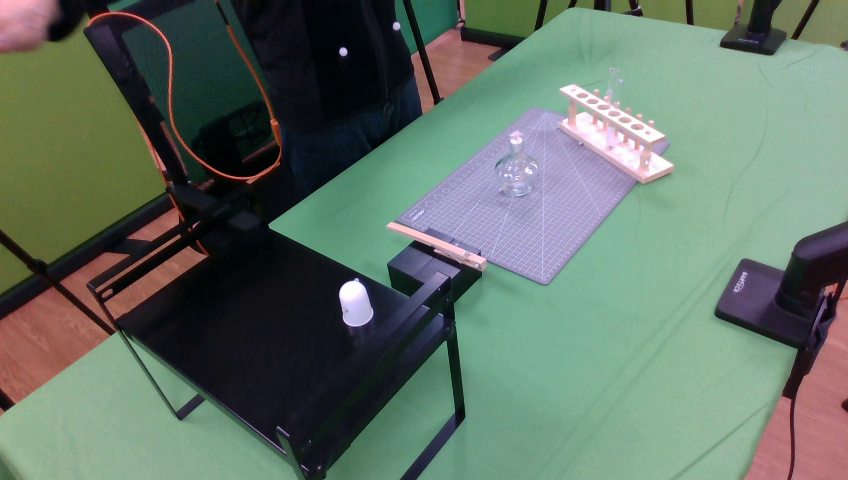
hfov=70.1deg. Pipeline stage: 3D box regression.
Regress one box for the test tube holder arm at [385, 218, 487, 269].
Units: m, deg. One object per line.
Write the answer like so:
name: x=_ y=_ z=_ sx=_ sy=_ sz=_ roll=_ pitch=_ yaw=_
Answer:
test tube holder arm: x=0.014 y=0.003 z=0.888 sx=0.177 sy=0.013 sz=0.015 roll=26 pitch=40 yaw=29

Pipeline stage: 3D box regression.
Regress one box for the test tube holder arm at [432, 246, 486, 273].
test tube holder arm: x=0.050 y=0.024 z=0.870 sx=0.087 sy=0.010 sz=0.015 roll=26 pitch=40 yaw=29

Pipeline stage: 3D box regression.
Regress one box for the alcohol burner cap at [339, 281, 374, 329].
alcohol burner cap: x=-0.071 y=0.063 z=0.617 sx=0.034 sy=0.048 sz=0.033 roll=-5 pitch=39 yaw=4

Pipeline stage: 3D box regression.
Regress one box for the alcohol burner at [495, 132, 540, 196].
alcohol burner: x=0.159 y=-0.135 z=1.035 sx=0.078 sy=0.119 sz=0.077 roll=-5 pitch=42 yaw=5

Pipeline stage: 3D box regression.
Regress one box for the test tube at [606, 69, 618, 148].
test tube: x=0.330 y=-0.228 z=1.064 sx=0.017 sy=0.151 sz=0.017 roll=-7 pitch=39 yaw=6

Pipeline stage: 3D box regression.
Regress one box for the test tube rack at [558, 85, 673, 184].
test tube rack: x=0.347 y=-0.203 z=1.109 sx=0.067 sy=0.085 sz=0.240 roll=-22 pitch=42 yaw=-17
